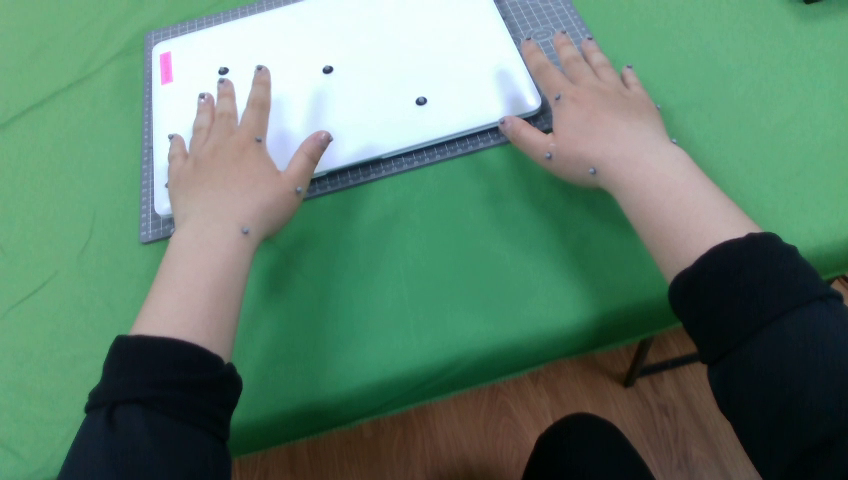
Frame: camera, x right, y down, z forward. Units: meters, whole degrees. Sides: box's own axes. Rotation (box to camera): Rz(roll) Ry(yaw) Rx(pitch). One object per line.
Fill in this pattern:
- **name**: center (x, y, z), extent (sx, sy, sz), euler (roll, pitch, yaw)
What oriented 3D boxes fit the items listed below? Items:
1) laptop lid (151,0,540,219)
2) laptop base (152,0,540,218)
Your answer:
- **laptop lid**: center (-0.091, -0.160, 0.584), extent (0.357, 0.013, 0.239), euler (-15, 59, -1)
- **laptop base**: center (-0.091, -0.155, 0.595), extent (0.354, 0.023, 0.233), euler (-16, 60, -2)
